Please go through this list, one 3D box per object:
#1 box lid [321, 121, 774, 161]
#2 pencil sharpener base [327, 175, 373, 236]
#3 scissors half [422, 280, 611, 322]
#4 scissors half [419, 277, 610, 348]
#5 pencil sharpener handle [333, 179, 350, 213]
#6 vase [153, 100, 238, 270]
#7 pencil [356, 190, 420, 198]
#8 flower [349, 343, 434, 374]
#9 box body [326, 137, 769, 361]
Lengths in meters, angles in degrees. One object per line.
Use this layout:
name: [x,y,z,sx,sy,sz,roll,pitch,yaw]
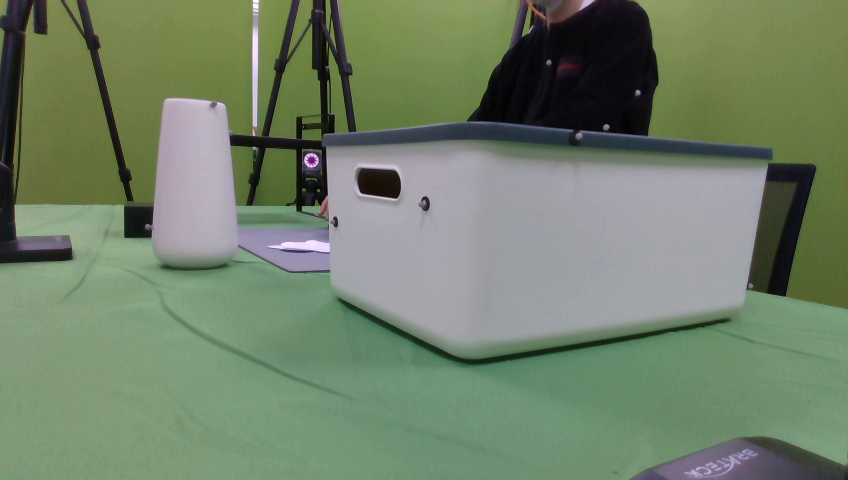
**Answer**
box lid: [0.114,-0.085,0.573,0.373,0.015,0.262,-2,7,-33]
pencil sharpener base: [-0.139,-0.065,1.119,0.062,0.107,0.076,-2,8,-31]
scissors half: [0.073,0.057,0.524,0.174,0.040,0.013,5,39,30]
scissors half: [0.076,0.067,0.533,0.174,0.040,0.013,14,50,24]
pencil sharpener handle: [-0.161,-0.084,1.162,0.036,0.068,0.030,-20,17,-28]
vase: [-0.278,-0.066,0.736,0.098,0.200,0.098,2,9,0]
pencil: [-0.065,-0.078,1.009,0.012,0.012,0.193,-3,7,-36]
flower: [0.103,0.072,0.592,0.362,0.044,0.038,-17,44,-9]
box body: [0.112,-0.010,0.583,0.366,0.160,0.253,-2,9,-33]
